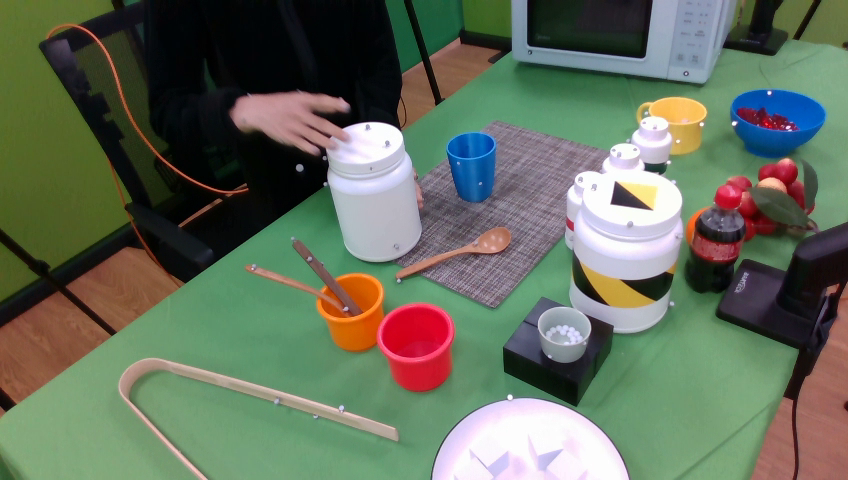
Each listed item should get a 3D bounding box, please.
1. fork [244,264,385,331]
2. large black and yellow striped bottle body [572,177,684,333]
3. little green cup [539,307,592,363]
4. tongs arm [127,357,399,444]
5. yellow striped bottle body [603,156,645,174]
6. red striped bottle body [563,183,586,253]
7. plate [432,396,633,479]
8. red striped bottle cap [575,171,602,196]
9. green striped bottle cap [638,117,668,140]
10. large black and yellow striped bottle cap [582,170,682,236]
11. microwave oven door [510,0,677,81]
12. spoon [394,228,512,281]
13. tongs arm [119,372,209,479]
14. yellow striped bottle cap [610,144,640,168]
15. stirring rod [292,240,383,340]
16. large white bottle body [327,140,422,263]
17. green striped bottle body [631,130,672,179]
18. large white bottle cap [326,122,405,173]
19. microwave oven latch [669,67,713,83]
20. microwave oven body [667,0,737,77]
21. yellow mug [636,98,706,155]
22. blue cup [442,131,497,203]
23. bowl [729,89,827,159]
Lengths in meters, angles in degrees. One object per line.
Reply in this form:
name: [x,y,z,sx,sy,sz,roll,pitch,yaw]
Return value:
fork: [-0.142,0.078,0.807,0.209,0.018,0.028,30,33,-24]
large black and yellow striped bottle body: [0.262,0.017,0.788,0.131,0.185,0.130,-5,40,4]
little green cup: [0.168,0.115,0.721,0.061,0.039,0.061,-4,42,4]
tongs arm: [-0.213,0.205,0.755,0.382,0.026,0.051,12,46,23]
yellow striped bottle body: [0.313,-0.089,0.956,0.063,0.121,0.062,-4,40,4]
red striped bottle body: [0.246,-0.041,0.910,0.063,0.120,0.062,-2,38,2]
plate: [0.112,0.261,0.634,0.209,0.038,0.208,-5,40,4]
red striped bottle cap: [0.242,-0.081,0.876,0.044,0.018,0.044,-5,44,5]
green striped bottle cap: [0.369,-0.180,0.974,0.044,0.020,0.044,-4,41,4]
large black and yellow striped bottle cap: [0.252,-0.048,0.735,0.115,0.019,0.114,-3,40,3]
microwave oven door: [0.354,-0.478,1.290,0.353,0.245,0.039,15,45,25]
spoon: [0.045,0.024,0.935,0.194,0.022,0.041,-18,66,-11]
tongs arm: [-0.258,0.257,0.700,0.384,0.028,0.028,24,55,34]
yellow striped bottle cap: [0.307,-0.128,0.923,0.044,0.019,0.044,-5,39,5]
stirring rod: [-0.118,0.068,0.826,0.176,0.006,0.014,49,59,-4]
large white bottle body: [-0.077,-0.071,0.939,0.130,0.185,0.130,-4,40,4]
green striped bottle body: [0.375,-0.140,1.007,0.063,0.120,0.063,-5,40,5]
large white bottle cap: [-0.086,-0.136,0.882,0.115,0.018,0.114,-4,41,4]
microwave oven latch: [0.556,-0.349,1.261,0.078,0.029,0.030,16,46,27]
microwave oven body: [0.462,-0.552,1.368,0.439,0.261,0.326,14,45,26]
yellow mug: [0.453,-0.217,1.128,0.100,0.064,0.129,-34,46,-27]
blue cup: [0.085,-0.121,1.039,0.092,0.100,0.092,-5,41,5]
bowl: [0.615,-0.197,1.069,0.151,0.077,0.150,-5,40,5]
